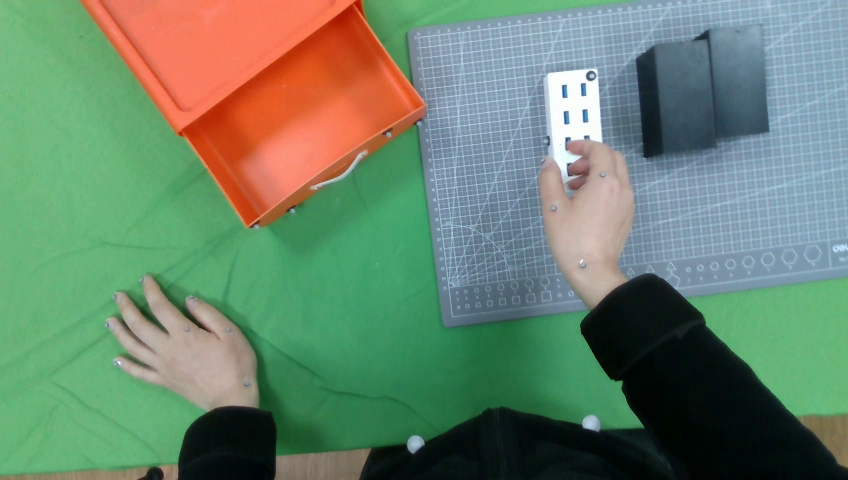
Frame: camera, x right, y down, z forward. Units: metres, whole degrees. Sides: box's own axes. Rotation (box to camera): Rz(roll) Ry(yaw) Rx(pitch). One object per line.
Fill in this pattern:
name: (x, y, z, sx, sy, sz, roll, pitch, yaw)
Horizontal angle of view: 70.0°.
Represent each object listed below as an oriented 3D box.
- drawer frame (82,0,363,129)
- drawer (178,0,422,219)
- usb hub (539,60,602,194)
drawer frame: (-0.198, -0.241, 0.550, 0.201, 0.082, 0.214, -37, 93, 2)
drawer: (-0.138, -0.158, 0.560, 0.194, 0.073, 0.212, -35, 93, 1)
usb hub: (0.145, -0.110, 0.594, 0.049, 0.025, 0.125, -6, 94, -1)
